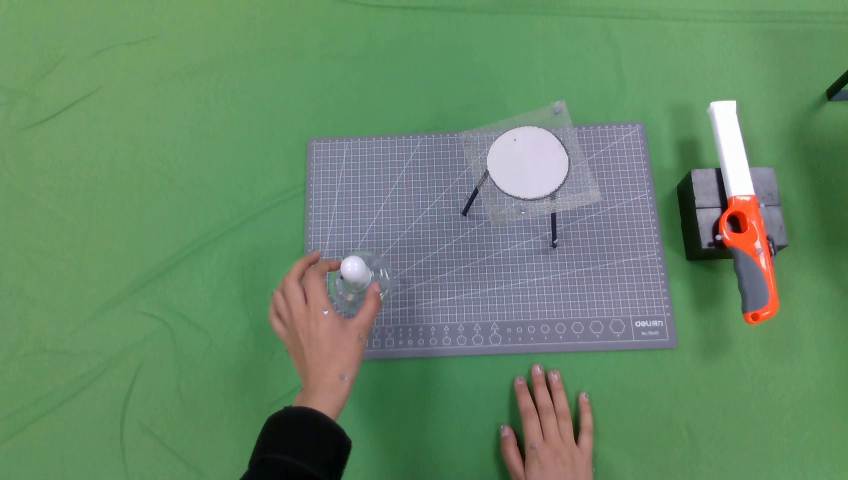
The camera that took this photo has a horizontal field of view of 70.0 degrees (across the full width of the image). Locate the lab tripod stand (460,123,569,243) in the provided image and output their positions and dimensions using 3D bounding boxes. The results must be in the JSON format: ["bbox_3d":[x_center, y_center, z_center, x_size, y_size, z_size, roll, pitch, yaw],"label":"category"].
[{"bbox_3d":[0.114,-0.072,0.715,0.148,0.132,0.147,-1,72,4],"label":"lab tripod stand"}]

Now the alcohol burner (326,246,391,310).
[{"bbox_3d":[-0.077,0.040,0.700,0.078,0.119,0.077,0,74,1],"label":"alcohol burner"}]

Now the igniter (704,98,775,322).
[{"bbox_3d":[0.366,-0.041,0.706,0.057,0.025,0.274,-2,71,4],"label":"igniter"}]

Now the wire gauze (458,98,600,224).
[{"bbox_3d":[0.111,-0.085,0.649,0.125,0.011,0.120,-15,73,-2],"label":"wire gauze"}]

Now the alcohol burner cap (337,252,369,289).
[{"bbox_3d":[-0.080,0.031,0.665,0.034,0.048,0.033,-1,68,3],"label":"alcohol burner cap"}]
